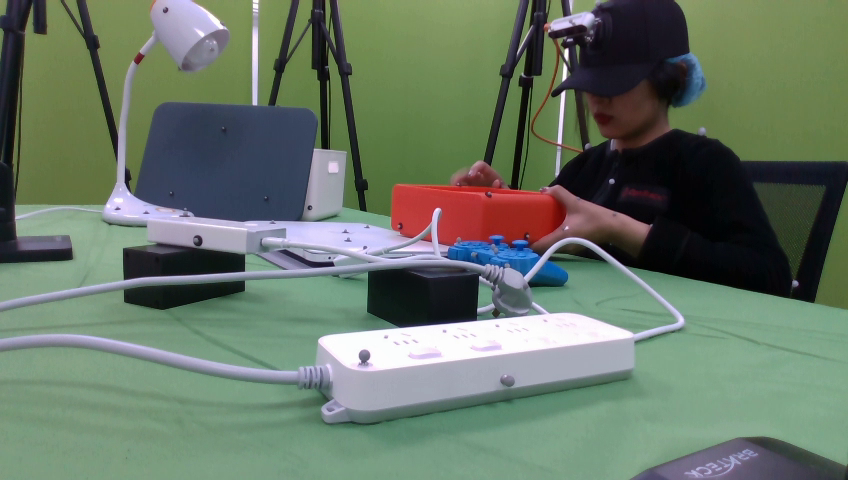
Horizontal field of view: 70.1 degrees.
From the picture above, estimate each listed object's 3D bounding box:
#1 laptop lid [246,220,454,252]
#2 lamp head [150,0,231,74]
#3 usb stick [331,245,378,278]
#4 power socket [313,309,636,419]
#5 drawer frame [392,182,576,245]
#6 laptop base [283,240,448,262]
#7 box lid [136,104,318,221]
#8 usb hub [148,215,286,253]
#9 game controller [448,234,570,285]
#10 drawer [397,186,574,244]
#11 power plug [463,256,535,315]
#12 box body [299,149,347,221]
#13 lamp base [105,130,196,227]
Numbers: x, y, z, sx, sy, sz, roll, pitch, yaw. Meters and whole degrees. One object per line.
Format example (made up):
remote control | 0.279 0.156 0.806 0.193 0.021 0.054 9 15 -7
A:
laptop lid | -0.123 -0.009 0.945 0.243 0.013 0.355 1 7 -29
lamp head | -0.432 -0.375 1.086 0.123 0.112 0.112 42 8 -3
usb stick | -0.085 0.026 0.701 0.059 0.027 0.021 -18 19 27
power socket | 0.039 0.072 0.385 0.228 0.032 0.072 -2 7 -28
drawer frame | 0.094 -0.046 0.954 0.215 0.082 0.200 -5 12 -42
laptop base | -0.125 0.002 0.945 0.237 0.023 0.352 1 6 -31
box lid | -0.411 -0.162 1.266 0.371 0.263 0.015 3 -15 9
usb hub | -0.197 -0.006 0.575 0.125 0.025 0.050 6 6 22
game controller | 0.099 0.021 0.756 0.097 0.051 0.154 -7 10 -29
drawer | 0.095 -0.044 0.957 0.213 0.073 0.193 -6 12 -42
power plug | 0.064 0.039 0.530 0.072 0.052 0.035 31 43 7
box body | -0.384 -0.137 1.407 0.364 0.160 0.254 3 8 7
lamp base | -0.532 -0.120 1.153 0.179 0.180 0.161 1 7 8
